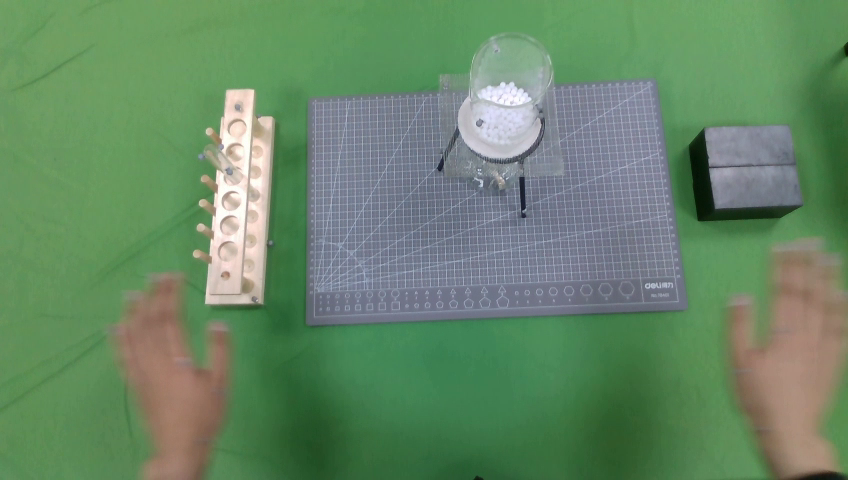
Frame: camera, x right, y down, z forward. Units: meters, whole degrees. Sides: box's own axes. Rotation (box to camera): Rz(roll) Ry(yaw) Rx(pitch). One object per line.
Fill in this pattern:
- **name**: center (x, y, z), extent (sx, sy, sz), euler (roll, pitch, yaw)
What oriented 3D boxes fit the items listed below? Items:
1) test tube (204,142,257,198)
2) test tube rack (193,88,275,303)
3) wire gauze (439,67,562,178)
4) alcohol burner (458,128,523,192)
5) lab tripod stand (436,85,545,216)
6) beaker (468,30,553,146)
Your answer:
- **test tube**: center (-0.212, -0.074, 0.675), extent (0.017, 0.151, 0.017), euler (0, 77, 0)
- **test tube rack**: center (-0.229, -0.050, 0.721), extent (0.067, 0.085, 0.241), euler (0, 77, 3)
- **wire gauze**: center (0.079, -0.122, 0.630), extent (0.125, 0.011, 0.121), euler (-1, 77, -1)
- **alcohol burner**: center (0.079, -0.100, 0.703), extent (0.078, 0.119, 0.077), euler (0, 75, 1)
- **lab tripod stand**: center (0.085, -0.110, 0.695), extent (0.148, 0.132, 0.147), euler (-1, 74, 3)
- **beaker**: center (0.077, -0.138, 0.585), extent (0.084, 0.101, 0.073), euler (-36, 77, -7)
